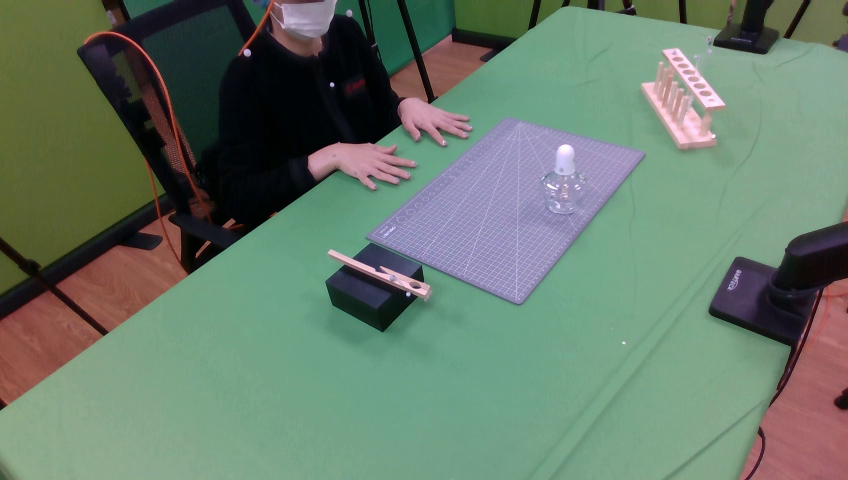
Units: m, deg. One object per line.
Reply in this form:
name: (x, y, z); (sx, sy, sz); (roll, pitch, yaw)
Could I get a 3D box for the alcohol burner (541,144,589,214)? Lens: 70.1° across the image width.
alcohol burner: (0.229, -0.102, 0.983); (0.078, 0.119, 0.077); (-6, 41, 5)

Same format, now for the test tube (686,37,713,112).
test tube: (0.509, -0.306, 1.128); (0.017, 0.151, 0.017); (-1, 45, 1)

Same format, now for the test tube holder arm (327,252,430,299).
test tube holder arm: (-0.068, 0.049, 0.855); (0.177, 0.015, 0.013); (18, 54, 27)

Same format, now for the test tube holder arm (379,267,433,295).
test tube holder arm: (-0.027, 0.057, 0.837); (0.087, 0.015, 0.010); (18, 54, 28)

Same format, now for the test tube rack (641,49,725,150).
test tube rack: (0.495, -0.279, 1.175); (0.067, 0.085, 0.241); (-5, 41, 3)

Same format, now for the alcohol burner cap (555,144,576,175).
alcohol burner cap: (0.225, -0.129, 0.959); (0.034, 0.048, 0.033); (-6, 37, 5)
